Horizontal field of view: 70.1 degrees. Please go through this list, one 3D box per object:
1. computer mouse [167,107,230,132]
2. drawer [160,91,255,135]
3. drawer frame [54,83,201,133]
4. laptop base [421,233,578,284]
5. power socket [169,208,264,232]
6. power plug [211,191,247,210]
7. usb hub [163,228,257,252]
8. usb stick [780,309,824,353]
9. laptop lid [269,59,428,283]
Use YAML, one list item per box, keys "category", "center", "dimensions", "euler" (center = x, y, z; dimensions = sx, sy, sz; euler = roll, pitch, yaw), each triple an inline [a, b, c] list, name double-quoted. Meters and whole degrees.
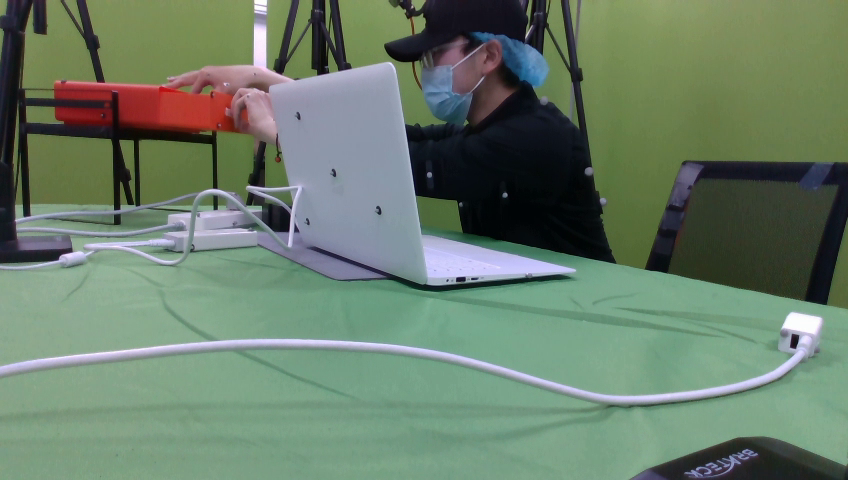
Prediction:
- category: "computer mouse"
  center: [-0.448, -0.240, 1.204]
  dimensions: [0.118, 0.041, 0.062]
  euler: [7, 4, -28]
- category: "drawer"
  center: [-0.474, -0.255, 1.208]
  dimensions: [0.211, 0.073, 0.194]
  euler: [4, 8, 7]
- category: "drawer frame"
  center: [-0.575, -0.263, 1.218]
  dimensions: [0.213, 0.082, 0.202]
  euler: [3, 8, 5]
- category: "laptop base"
  center: [0.007, 0.021, 0.850]
  dimensions: [0.237, 0.023, 0.352]
  euler: [1, 7, -34]
- category: "power socket"
  center: [-0.380, -0.038, 1.127]
  dimensions: [0.072, 0.032, 0.227]
  euler: [4, 8, 17]
- category: "power plug"
  center: [-0.386, -0.071, 1.205]
  dimensions: [0.072, 0.052, 0.035]
  euler: [8, 11, 27]
- category: "usb hub"
  center: [-0.314, -0.001, 0.894]
  dimensions: [0.049, 0.025, 0.126]
  euler: [9, 10, 41]
- category: "usb stick"
  center: [0.311, 0.072, 0.496]
  dimensions: [0.027, 0.021, 0.059]
  euler: [7, 15, 34]
- category: "laptop lid"
  center: [-0.110, -0.087, 0.752]
  dimensions: [0.013, 0.241, 0.355]
  euler: [-18, 19, -30]
